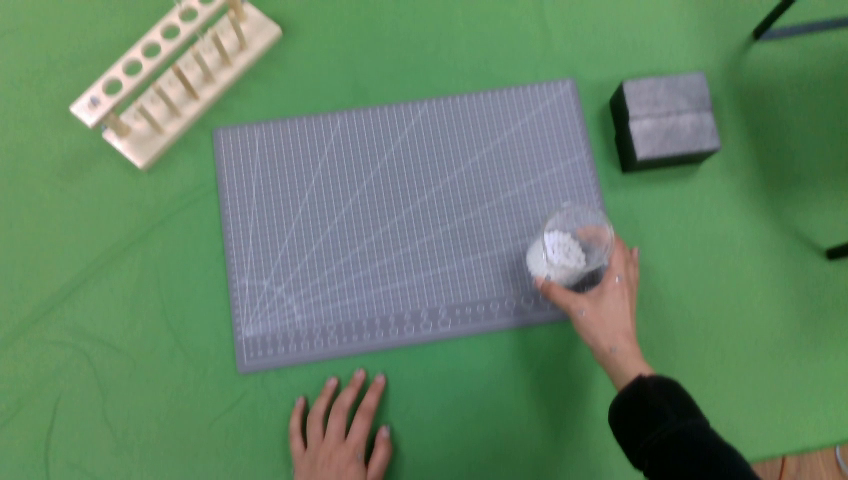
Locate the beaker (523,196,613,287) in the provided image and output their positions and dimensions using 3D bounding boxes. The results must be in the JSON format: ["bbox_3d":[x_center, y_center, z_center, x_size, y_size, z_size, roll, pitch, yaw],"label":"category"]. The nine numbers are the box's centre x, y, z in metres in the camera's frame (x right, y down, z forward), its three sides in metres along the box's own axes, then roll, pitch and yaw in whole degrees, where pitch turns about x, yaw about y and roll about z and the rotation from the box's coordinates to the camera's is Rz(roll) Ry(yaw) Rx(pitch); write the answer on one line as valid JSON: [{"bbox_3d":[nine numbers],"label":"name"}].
[{"bbox_3d":[0.147,0.009,0.649,0.073,0.101,0.084,44,76,10],"label":"beaker"}]

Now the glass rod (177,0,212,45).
[{"bbox_3d":[-0.272,-0.271,0.650,0.008,0.201,0.008,-1,72,4],"label":"glass rod"}]

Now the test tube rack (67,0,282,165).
[{"bbox_3d":[-0.280,-0.208,0.704,0.066,0.085,0.242,39,80,7],"label":"test tube rack"}]
